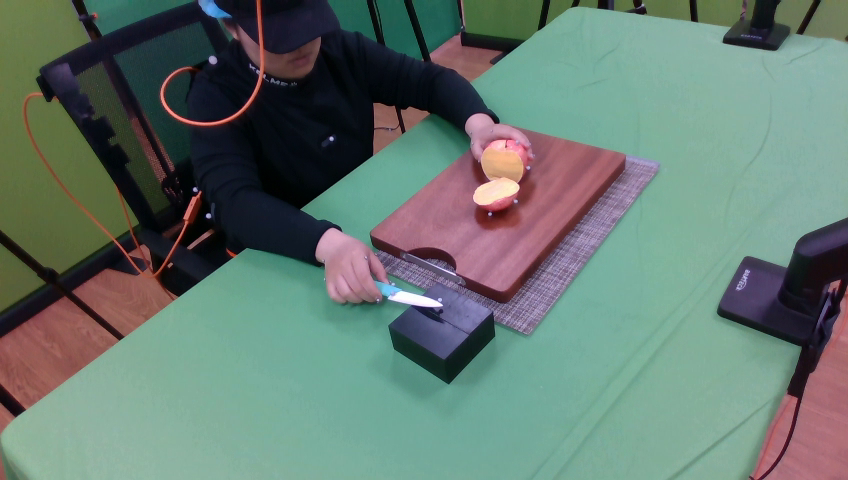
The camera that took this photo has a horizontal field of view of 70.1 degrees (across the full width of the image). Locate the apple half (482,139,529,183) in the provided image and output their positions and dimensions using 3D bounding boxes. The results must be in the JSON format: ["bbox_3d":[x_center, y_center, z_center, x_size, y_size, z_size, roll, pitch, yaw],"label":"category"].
[{"bbox_3d":[0.146,-0.138,1.039,0.080,0.075,0.053,11,40,27],"label":"apple half"}]

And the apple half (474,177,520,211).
[{"bbox_3d":[0.123,-0.070,0.994,0.081,0.033,0.081,-17,29,11],"label":"apple half"}]

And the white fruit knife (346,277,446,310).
[{"bbox_3d":[-0.042,0.077,0.865,0.205,0.016,0.027,9,40,46],"label":"white fruit knife"}]
